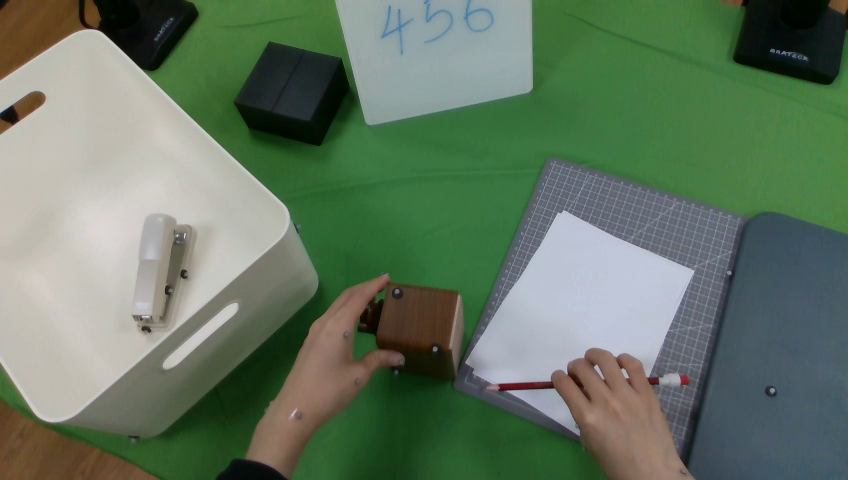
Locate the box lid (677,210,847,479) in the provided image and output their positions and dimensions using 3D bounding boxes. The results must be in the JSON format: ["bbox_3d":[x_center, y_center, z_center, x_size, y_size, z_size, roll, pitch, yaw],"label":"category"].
[{"bbox_3d":[0.405,0.154,0.577,0.262,0.015,0.369,20,68,12],"label":"box lid"}]

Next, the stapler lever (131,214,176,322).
[{"bbox_3d":[-0.291,0.028,0.651,0.027,0.040,0.117,0,67,7],"label":"stapler lever"}]

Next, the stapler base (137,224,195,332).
[{"bbox_3d":[-0.290,0.037,0.675,0.041,0.024,0.129,0,66,7],"label":"stapler base"}]

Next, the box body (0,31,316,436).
[{"bbox_3d":[-0.318,-0.008,0.628,0.361,0.161,0.254,40,74,20],"label":"box body"}]

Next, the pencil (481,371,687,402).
[{"bbox_3d":[0.147,0.135,0.554,0.194,0.012,0.012,-5,63,-6],"label":"pencil"}]

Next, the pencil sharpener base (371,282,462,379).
[{"bbox_3d":[-0.006,0.089,0.588,0.076,0.108,0.061,7,65,9],"label":"pencil sharpener base"}]

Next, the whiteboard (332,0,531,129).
[{"bbox_3d":[0.000,-0.316,0.705,0.217,0.308,0.142,-11,45,0],"label":"whiteboard"}]

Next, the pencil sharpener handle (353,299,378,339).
[{"bbox_3d":[-0.057,0.079,0.583,0.030,0.068,0.035,7,60,9],"label":"pencil sharpener handle"}]
